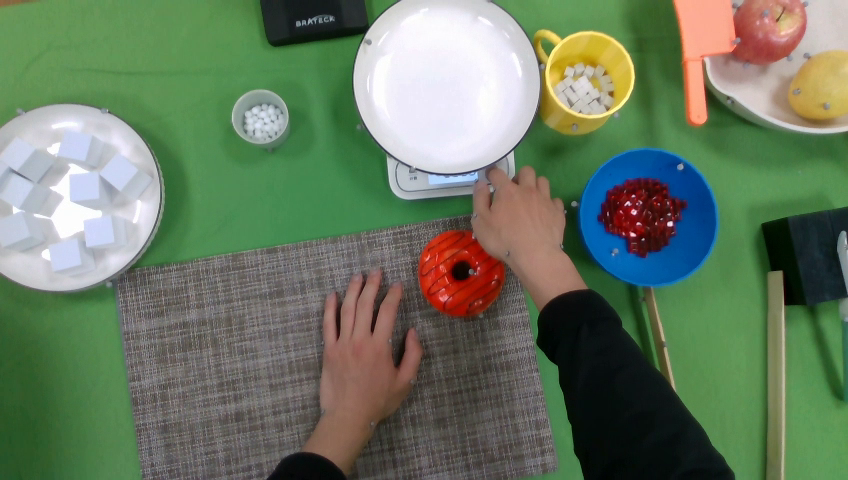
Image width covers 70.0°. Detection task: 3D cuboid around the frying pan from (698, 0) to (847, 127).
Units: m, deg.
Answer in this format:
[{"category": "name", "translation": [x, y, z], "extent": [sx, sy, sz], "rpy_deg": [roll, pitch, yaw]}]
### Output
[{"category": "frying pan", "translation": [0.499, -0.189, 0.698], "extent": [0.307, 0.103, 0.485], "rpy_deg": [-37, 80, -5]}]

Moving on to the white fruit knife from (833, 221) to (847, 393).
[{"category": "white fruit knife", "translation": [0.475, 0.080, 0.685], "extent": [0.016, 0.027, 0.208], "rpy_deg": [-12, 100, -4]}]

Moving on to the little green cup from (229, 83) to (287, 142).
[{"category": "little green cup", "translation": [-0.184, -0.141, 0.684], "extent": [0.061, 0.038, 0.061], "rpy_deg": [0, 84, -3]}]

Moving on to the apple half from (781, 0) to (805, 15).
[{"category": "apple half", "translation": [0.407, -0.277, 0.710], "extent": [0.081, 0.081, 0.033], "rpy_deg": [31, 87, 0]}]

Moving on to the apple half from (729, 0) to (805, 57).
[{"category": "apple half", "translation": [0.388, -0.244, 0.707], "extent": [0.081, 0.074, 0.053], "rpy_deg": [32, 87, -3]}]

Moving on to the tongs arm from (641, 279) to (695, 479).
[{"category": "tongs arm", "translation": [0.306, 0.222, 0.683], "extent": [0.051, 0.026, 0.384], "rpy_deg": [-9, 86, -8]}]

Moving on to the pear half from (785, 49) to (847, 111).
[{"category": "pear half", "translation": [0.461, -0.181, 0.688], "extent": [0.076, 0.110, 0.056], "rpy_deg": [26, 84, 3]}]

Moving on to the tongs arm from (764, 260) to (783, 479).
[{"category": "tongs arm", "translation": [0.391, 0.216, 0.692], "extent": [0.028, 0.028, 0.386], "rpy_deg": [6, 85, -10]}]

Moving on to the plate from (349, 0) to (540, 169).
[{"category": "plate", "translation": [0.022, -0.178, 0.671], "extent": [0.209, 0.038, 0.208], "rpy_deg": [0, 85, -4]}]

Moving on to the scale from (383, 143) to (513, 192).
[{"category": "scale", "translation": [0.022, -0.160, 0.702], "extent": [0.149, 0.031, 0.200], "rpy_deg": [-5, 85, -4]}]

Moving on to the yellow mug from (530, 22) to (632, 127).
[{"category": "yellow mug", "translation": [0.168, -0.199, 0.697], "extent": [0.100, 0.064, 0.130], "rpy_deg": [-42, 88, -5]}]

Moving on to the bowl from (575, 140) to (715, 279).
[{"category": "bowl", "translation": [0.234, -0.029, 0.680], "extent": [0.151, 0.077, 0.151], "rpy_deg": [0, 85, -4]}]

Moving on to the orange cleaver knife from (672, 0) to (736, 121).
[{"category": "orange cleaver knife", "translation": [0.307, -0.239, 0.673], "extent": [0.077, 0.012, 0.211], "rpy_deg": [-5, 86, -1]}]

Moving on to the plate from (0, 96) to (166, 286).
[{"category": "plate", "translation": [-0.386, -0.052, 0.664], "extent": [0.208, 0.039, 0.207], "rpy_deg": [0, 85, -4]}]

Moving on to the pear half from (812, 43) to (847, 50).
[{"category": "pear half", "translation": [0.480, -0.209, 0.701], "extent": [0.070, 0.088, 0.031], "rpy_deg": [21, 83, 5]}]

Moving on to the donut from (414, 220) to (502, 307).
[{"category": "donut", "translation": [0.038, 0.026, 0.676], "extent": [0.099, 0.048, 0.099], "rpy_deg": [0, 86, -1]}]
